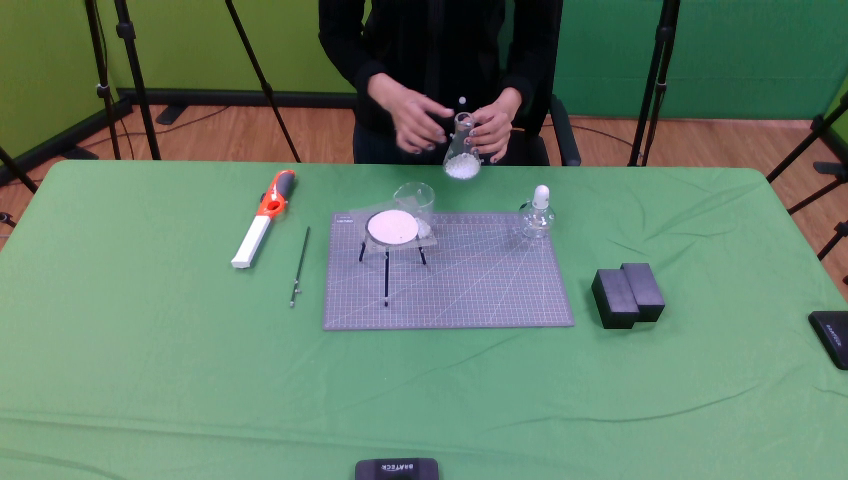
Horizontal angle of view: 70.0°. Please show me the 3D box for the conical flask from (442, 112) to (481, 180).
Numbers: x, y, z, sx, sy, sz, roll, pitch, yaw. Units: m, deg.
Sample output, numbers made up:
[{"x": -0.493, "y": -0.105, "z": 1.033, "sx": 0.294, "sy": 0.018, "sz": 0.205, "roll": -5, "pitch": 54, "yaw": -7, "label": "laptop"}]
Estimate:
[{"x": 0.073, "y": -0.177, "z": 1.126, "sx": 0.075, "sy": 0.122, "sz": 0.075, "roll": 1, "pitch": 48, "yaw": 0, "label": "conical flask"}]

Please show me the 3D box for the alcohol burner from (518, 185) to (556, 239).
[{"x": 0.227, "y": -0.061, "z": 1.209, "sx": 0.078, "sy": 0.120, "sz": 0.077, "roll": 1, "pitch": 44, "yaw": -1, "label": "alcohol burner"}]

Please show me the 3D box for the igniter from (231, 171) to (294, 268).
[{"x": -0.321, "y": -0.051, "z": 1.220, "sx": 0.057, "sy": 0.025, "sz": 0.275, "roll": 2, "pitch": 45, "yaw": 11, "label": "igniter"}]

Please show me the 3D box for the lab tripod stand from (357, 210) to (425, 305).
[{"x": -0.060, "y": 0.020, "z": 1.094, "sx": 0.148, "sy": 0.132, "sz": 0.147, "roll": 3, "pitch": 44, "yaw": -2, "label": "lab tripod stand"}]

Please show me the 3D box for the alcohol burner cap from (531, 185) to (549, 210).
[{"x": 0.228, "y": -0.085, "z": 1.183, "sx": 0.034, "sy": 0.048, "sz": 0.033, "roll": -1, "pitch": 48, "yaw": 2, "label": "alcohol burner cap"}]

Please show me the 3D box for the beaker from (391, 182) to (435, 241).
[{"x": -0.023, "y": -0.053, "z": 1.192, "sx": 0.084, "sy": 0.101, "sz": 0.073, "roll": -2, "pitch": 46, "yaw": -5, "label": "beaker"}]

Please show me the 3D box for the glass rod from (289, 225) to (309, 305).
[{"x": -0.235, "y": 0.043, "z": 1.149, "sx": 0.008, "sy": 0.008, "sz": 0.198, "roll": 3, "pitch": 46, "yaw": -1, "label": "glass rod"}]

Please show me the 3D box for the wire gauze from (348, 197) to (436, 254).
[{"x": -0.056, "y": -0.026, "z": 1.045, "sx": 0.125, "sy": 0.011, "sz": 0.120, "roll": -12, "pitch": 47, "yaw": -17, "label": "wire gauze"}]
